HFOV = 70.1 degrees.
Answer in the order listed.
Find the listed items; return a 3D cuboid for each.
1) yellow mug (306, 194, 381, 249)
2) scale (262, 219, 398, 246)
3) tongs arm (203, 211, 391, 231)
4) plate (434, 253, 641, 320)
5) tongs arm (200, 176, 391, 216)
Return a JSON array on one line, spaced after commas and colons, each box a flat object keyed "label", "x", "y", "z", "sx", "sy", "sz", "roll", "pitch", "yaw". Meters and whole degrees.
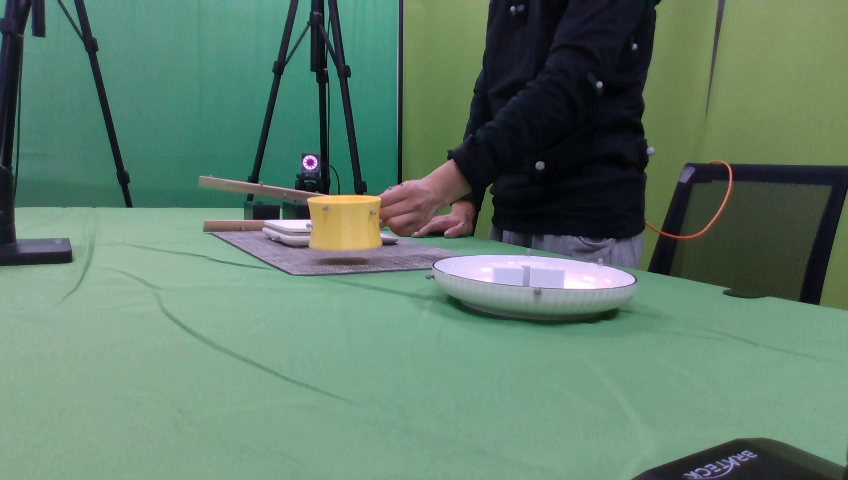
[{"label": "yellow mug", "x": -0.104, "y": -0.030, "z": 0.832, "sx": 0.100, "sy": 0.064, "sz": 0.131, "roll": 2, "pitch": 9, "yaw": 14}, {"label": "scale", "x": -0.160, "y": -0.016, "z": 1.028, "sx": 0.202, "sy": 0.031, "sz": 0.148, "roll": -1, "pitch": 9, "yaw": -31}, {"label": "tongs arm", "x": -0.231, "y": -0.036, "z": 1.185, "sx": 0.390, "sy": 0.028, "sz": 0.028, "roll": -3, "pitch": 33, "yaw": -33}, {"label": "plate", "x": 0.114, "y": 0.047, "z": 0.626, "sx": 0.208, "sy": 0.039, "sz": 0.207, "roll": 2, "pitch": 7, "yaw": 0}, {"label": "tongs arm", "x": -0.258, "y": -0.084, "z": 1.245, "sx": 0.387, "sy": 0.026, "sz": 0.050, "roll": 6, "pitch": 32, "yaw": -22}]
